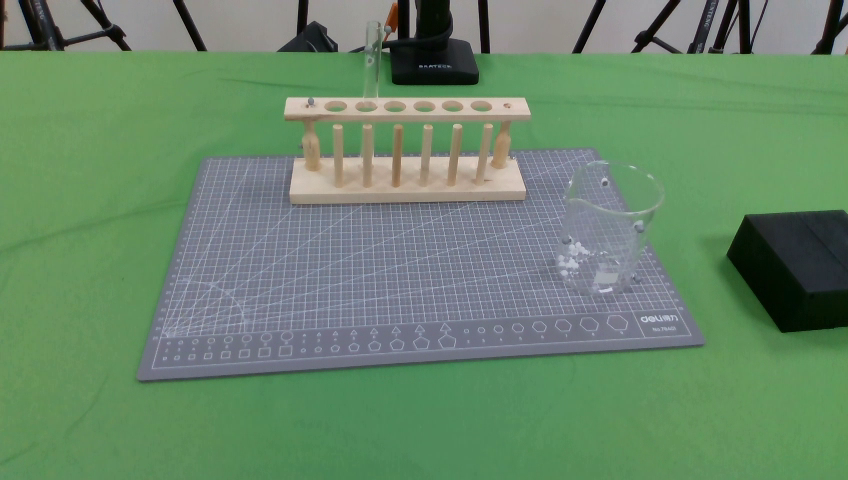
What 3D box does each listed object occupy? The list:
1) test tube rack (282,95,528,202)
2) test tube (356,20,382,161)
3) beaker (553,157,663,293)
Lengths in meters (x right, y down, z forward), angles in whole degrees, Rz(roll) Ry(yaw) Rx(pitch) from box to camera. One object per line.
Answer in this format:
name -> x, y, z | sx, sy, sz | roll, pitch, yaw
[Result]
test tube rack -> -0.018, -0.094, 0.620 | 0.243, 0.086, 0.066 | -1, 42, -5
test tube -> -0.056, -0.141, 0.596 | 0.017, 0.151, 0.017 | 6, 40, -4
beaker -> 0.151, -0.009, 0.526 | 0.084, 0.101, 0.073 | -8, 42, -11
